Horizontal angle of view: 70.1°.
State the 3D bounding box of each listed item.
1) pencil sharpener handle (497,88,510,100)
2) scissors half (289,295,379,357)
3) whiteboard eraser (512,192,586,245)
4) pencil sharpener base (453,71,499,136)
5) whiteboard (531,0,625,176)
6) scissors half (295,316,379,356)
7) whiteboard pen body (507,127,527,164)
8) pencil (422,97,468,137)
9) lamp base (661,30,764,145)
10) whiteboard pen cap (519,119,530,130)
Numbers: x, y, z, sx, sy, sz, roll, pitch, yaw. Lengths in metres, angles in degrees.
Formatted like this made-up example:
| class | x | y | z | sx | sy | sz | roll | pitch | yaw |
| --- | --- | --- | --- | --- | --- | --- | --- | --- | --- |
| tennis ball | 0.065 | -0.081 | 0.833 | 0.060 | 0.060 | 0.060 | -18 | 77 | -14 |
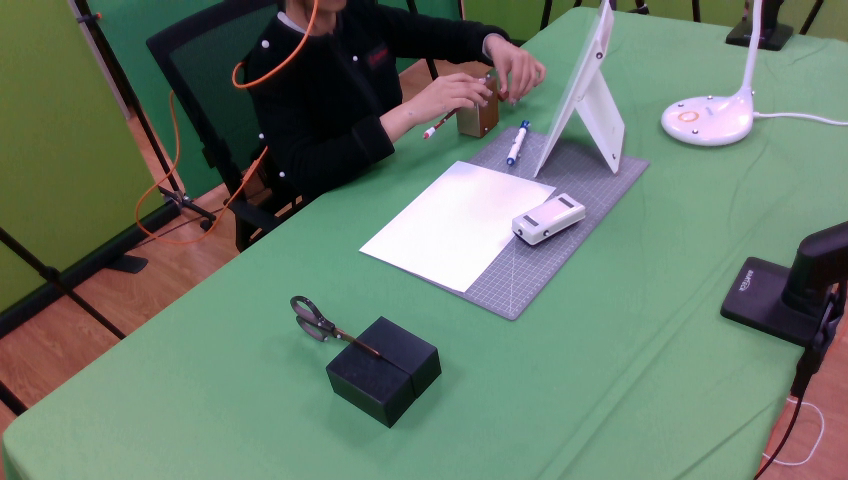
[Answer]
| class | x | y | z | sx | sy | sz | roll | pitch | yaw |
| --- | --- | --- | --- | --- | --- | --- | --- | --- | --- |
| pencil sharpener handle | 0.144 | -0.315 | 1.231 | 0.068 | 0.036 | 0.031 | 46 | 55 | -3 |
| scissors half | -0.122 | 0.114 | 0.803 | 0.174 | 0.040 | 0.013 | 26 | 50 | 32 |
| whiteboard eraser | 0.199 | -0.032 | 0.962 | 0.113 | 0.042 | 0.055 | -27 | 42 | -20 |
| pencil sharpener base | 0.107 | -0.276 | 1.219 | 0.061 | 0.107 | 0.077 | 20 | 48 | 31 |
| whiteboard | 0.320 | -0.258 | 1.050 | 0.144 | 0.306 | 0.217 | 22 | 45 | 5 |
| scissors half | -0.119 | 0.132 | 0.813 | 0.173 | 0.040 | 0.013 | 9 | 34 | 45 |
| whiteboard pen body | 0.181 | -0.189 | 1.162 | 0.017 | 0.017 | 0.140 | 8 | 42 | 19 |
| pencil | 0.054 | -0.248 | 1.155 | 0.012 | 0.012 | 0.194 | 20 | 49 | 30 |
| lamp base | 0.535 | -0.287 | 1.096 | 0.179 | 0.181 | 0.159 | -10 | 40 | -4 |
| whiteboard pen cap | 0.199 | -0.226 | 1.204 | 0.018 | 0.018 | 0.033 | 7 | 41 | 18 |
